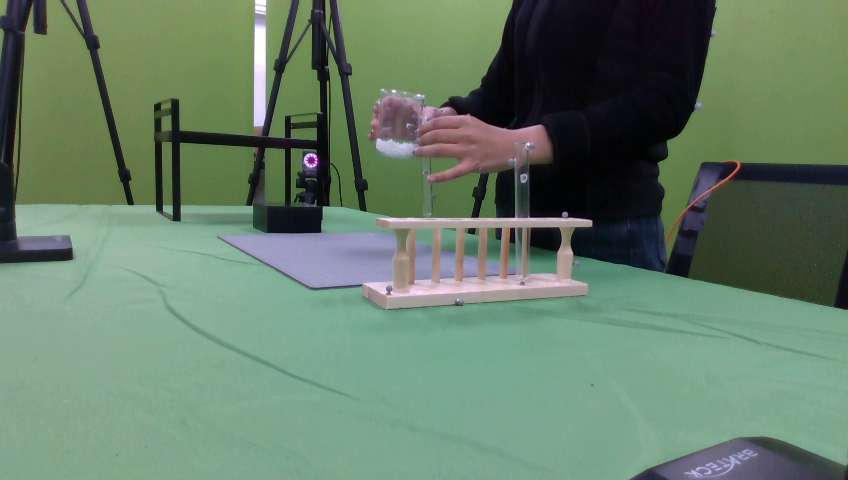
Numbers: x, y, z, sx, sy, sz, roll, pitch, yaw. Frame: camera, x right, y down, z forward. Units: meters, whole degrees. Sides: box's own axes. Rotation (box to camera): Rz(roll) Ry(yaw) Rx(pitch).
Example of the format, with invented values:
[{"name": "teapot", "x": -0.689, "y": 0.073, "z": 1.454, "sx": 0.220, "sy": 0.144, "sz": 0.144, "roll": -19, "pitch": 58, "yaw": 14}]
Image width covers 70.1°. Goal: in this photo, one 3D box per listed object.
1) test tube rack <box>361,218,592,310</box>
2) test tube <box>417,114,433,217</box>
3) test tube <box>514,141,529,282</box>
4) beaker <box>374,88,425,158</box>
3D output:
[{"name": "test tube rack", "x": 0.060, "y": 0.019, "z": 0.640, "sx": 0.243, "sy": 0.085, "sz": 0.066, "roll": -1, "pitch": 8, "yaw": -27}, {"name": "test tube", "x": 0.002, "y": -0.109, "z": 0.888, "sx": 0.017, "sy": 0.150, "sz": 0.017, "roll": -3, "pitch": 2, "yaw": 0}, {"name": "test tube", "x": 0.103, "y": -0.028, "z": 0.636, "sx": 0.017, "sy": 0.150, "sz": 0.017, "roll": -2, "pitch": 12, "yaw": 1}, {"name": "beaker", "x": -0.040, "y": -0.186, "z": 0.965, "sx": 0.074, "sy": 0.100, "sz": 0.083, "roll": 3, "pitch": 19, "yaw": -18}]
